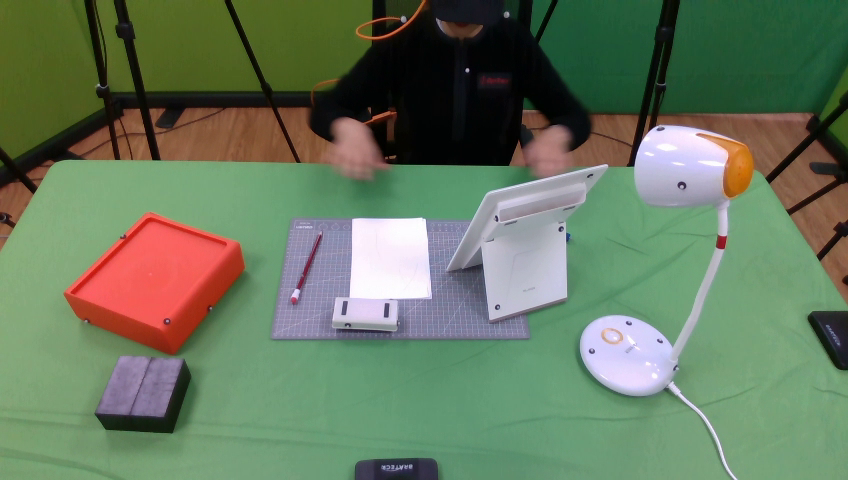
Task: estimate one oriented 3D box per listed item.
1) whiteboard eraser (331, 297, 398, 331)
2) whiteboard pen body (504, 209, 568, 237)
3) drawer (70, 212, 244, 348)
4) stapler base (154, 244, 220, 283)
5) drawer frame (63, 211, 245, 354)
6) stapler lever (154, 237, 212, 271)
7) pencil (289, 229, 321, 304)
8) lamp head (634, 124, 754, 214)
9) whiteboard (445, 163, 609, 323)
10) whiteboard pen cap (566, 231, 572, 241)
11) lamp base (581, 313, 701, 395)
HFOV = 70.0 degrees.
[{"bbox_3d":[-0.102,0.130,1.046,0.113,0.042,0.055,3,45,-2],"label":"whiteboard eraser"},{"bbox_3d":[0.230,-0.034,1.248,0.140,0.017,0.017,22,49,16],"label":"whiteboard pen body"},{"bbox_3d":[-0.458,0.065,1.060,0.194,0.073,0.211,18,48,12],"label":"drawer"},{"bbox_3d":[-0.434,0.038,1.107,0.130,0.024,0.041,21,45,17],"label":"stapler base"},{"bbox_3d":[-0.459,0.067,1.056,0.201,0.083,0.212,17,48,11],"label":"drawer frame"},{"bbox_3d":[-0.434,0.021,1.091,0.118,0.040,0.027,23,45,15],"label":"stapler lever"},{"bbox_3d":[-0.221,0.045,1.141,0.012,0.012,0.193,8,44,4],"label":"pencil"},{"bbox_3d":[0.351,-0.089,0.775,0.112,0.113,0.122,-30,30,-28],"label":"lamp head"},{"bbox_3d":[0.187,0.026,1.028,0.217,0.306,0.143,-13,68,-17],"label":"whiteboard"},{"bbox_3d":[0.282,-0.012,1.230,0.033,0.018,0.018,24,49,15],"label":"whiteboard pen cap"},{"bbox_3d":[0.361,0.144,0.973,0.178,0.181,0.160,34,53,23],"label":"lamp base"}]
